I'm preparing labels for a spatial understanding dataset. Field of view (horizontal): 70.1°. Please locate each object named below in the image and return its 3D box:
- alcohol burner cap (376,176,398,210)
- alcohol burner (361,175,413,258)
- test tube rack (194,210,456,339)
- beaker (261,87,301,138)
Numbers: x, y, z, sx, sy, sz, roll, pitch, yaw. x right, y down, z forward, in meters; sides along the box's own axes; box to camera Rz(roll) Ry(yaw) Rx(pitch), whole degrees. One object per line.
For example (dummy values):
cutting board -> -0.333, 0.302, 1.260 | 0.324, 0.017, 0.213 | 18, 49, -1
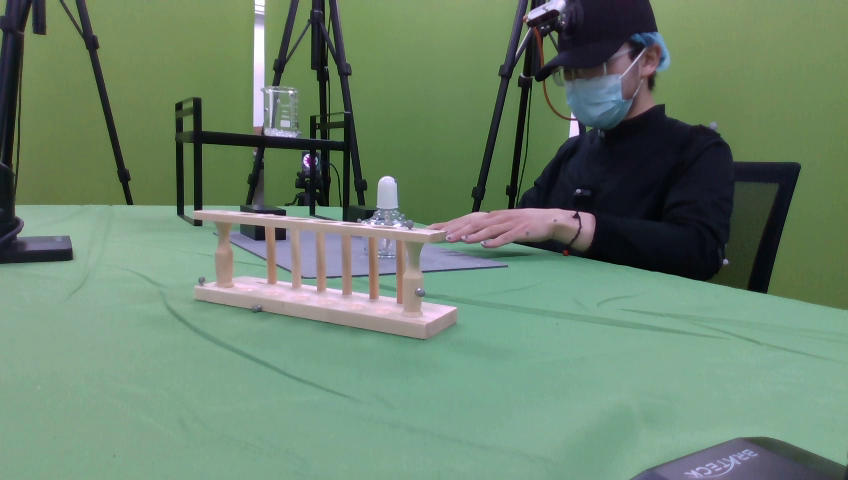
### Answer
alcohol burner cap -> -0.053, -0.069, 0.867 | 0.034, 0.048, 0.034 | 2, 14, 0
alcohol burner -> -0.054, -0.034, 0.871 | 0.078, 0.119, 0.078 | 1, 8, 0
test tube rack -> -0.093, 0.023, 0.545 | 0.241, 0.085, 0.067 | 6, 8, 25
beaker -> -0.298, -0.263, 1.255 | 0.084, 0.100, 0.073 | -5, 10, -40
